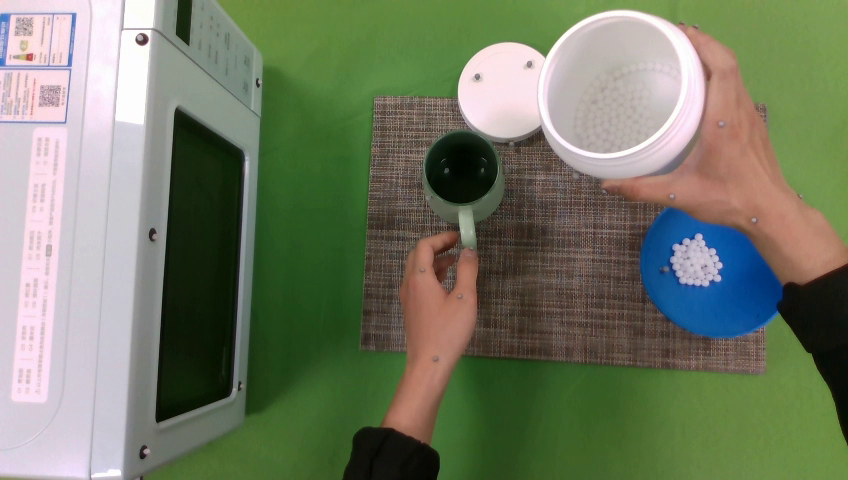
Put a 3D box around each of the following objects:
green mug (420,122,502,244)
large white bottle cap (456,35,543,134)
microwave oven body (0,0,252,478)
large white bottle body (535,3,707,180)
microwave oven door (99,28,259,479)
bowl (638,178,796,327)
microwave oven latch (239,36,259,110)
[{"bbox_3d":[0.041,-0.058,0.652,0.092,0.105,0.125,-7,85,3],"label":"green mug"},{"bbox_3d":[0.093,-0.180,0.699,0.115,0.018,0.114,-1,82,5],"label":"large white bottle cap"},{"bbox_3d":[-0.368,-0.027,0.605,0.326,0.261,0.441,1,86,4],"label":"microwave oven body"},{"bbox_3d":[0.173,-0.122,0.524,0.130,0.185,0.130,1,93,26],"label":"large white bottle body"},{"bbox_3d":[-0.223,0.016,0.585,0.039,0.244,0.355,0,85,5],"label":"microwave oven door"},{"bbox_3d":[0.295,0.016,0.639,0.151,0.077,0.151,0,85,5],"label":"bowl"},{"bbox_3d":[-0.207,-0.192,0.701,0.030,0.029,0.079,0,86,4],"label":"microwave oven latch"}]
